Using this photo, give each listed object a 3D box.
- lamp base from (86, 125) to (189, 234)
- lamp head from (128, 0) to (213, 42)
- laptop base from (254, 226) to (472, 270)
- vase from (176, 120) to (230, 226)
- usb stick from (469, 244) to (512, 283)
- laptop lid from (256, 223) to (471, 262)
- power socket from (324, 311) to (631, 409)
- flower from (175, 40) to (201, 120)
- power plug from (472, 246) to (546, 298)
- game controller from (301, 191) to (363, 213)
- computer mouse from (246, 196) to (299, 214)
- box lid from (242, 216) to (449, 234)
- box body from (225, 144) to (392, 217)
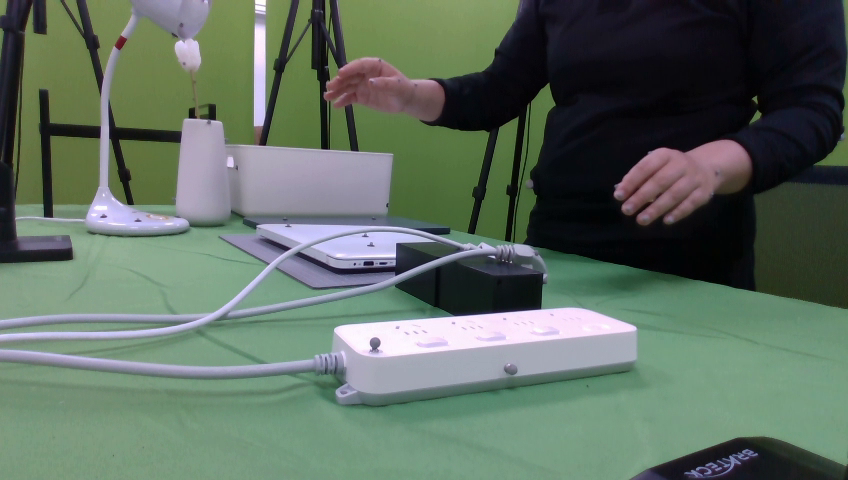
[{"bbox_3d":[-0.497,-0.105,1.027,0.179,0.180,0.160,1,7,3],"label":"lamp base"},{"bbox_3d":[-0.423,-0.394,0.980,0.123,0.112,0.112,20,7,-3],"label":"lamp head"},{"bbox_3d":[-0.095,0.011,0.912,0.237,0.023,0.352,3,6,-32],"label":"laptop base"},{"bbox_3d":[-0.424,-0.128,1.159,0.098,0.200,0.098,2,9,0],"label":"vase"},{"bbox_3d":[0.080,0.029,0.674,0.059,0.021,0.027,28,25,-29],"label":"usb stick"},{"bbox_3d":[-0.092,0.000,0.912,0.243,0.013,0.355,1,7,-30],"label":"laptop lid"},{"bbox_3d":[0.042,0.075,0.411,0.228,0.032,0.072,-1,8,-25],"label":"power socket"},{"bbox_3d":[-0.430,-0.211,1.165,0.044,0.361,0.038,-10,-5,-22],"label":"flower"},{"bbox_3d":[0.081,0.029,0.584,0.072,0.052,0.035,12,28,9],"label":"power plug"},{"bbox_3d":[-0.240,-0.098,1.550,0.155,0.051,0.097,3,9,5],"label":"game controller"},{"bbox_3d":[-0.355,-0.083,1.418,0.117,0.041,0.063,0,10,7],"label":"computer mouse"},{"bbox_3d":[-0.162,-0.030,1.233,0.373,0.015,0.262,-1,8,-32],"label":"box lid"},{"bbox_3d":[-0.289,-0.143,1.475,0.366,0.160,0.253,-1,9,-29],"label":"box body"}]
